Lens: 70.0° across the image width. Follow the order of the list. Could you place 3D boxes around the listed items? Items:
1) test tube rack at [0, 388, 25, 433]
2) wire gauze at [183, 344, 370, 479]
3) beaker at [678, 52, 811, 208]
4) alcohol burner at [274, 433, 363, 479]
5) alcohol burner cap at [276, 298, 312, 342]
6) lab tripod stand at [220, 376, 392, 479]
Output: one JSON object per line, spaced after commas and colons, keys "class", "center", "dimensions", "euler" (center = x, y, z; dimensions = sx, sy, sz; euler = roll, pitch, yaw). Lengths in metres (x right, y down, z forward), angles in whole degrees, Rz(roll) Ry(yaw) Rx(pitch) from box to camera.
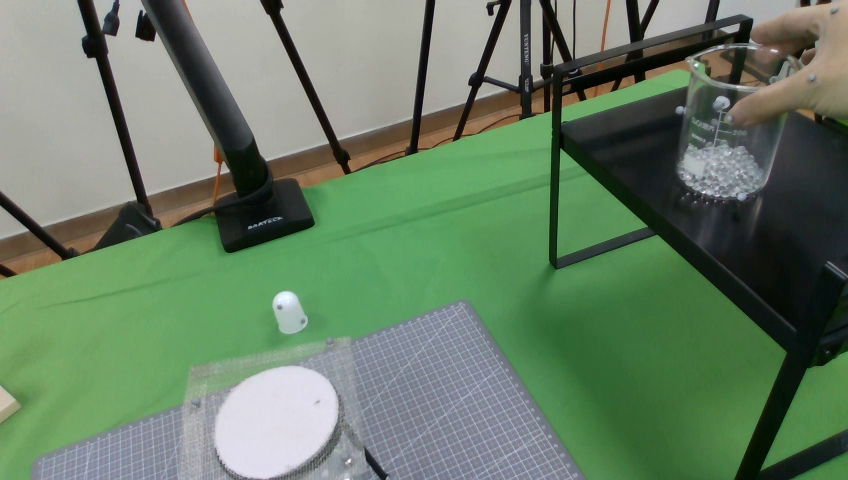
{"class": "test tube rack", "center": [-0.512, 0.204, 0.544], "dimensions": [0.066, 0.086, 0.242], "euler": [21, 47, 31]}
{"class": "wire gauze", "center": [-0.102, 0.127, 0.416], "dimensions": [0.121, 0.011, 0.123], "euler": [-12, 41, -5]}
{"class": "beaker", "center": [0.236, -0.083, 0.465], "dimensions": [0.074, 0.101, 0.083], "euler": [-32, 45, -27]}
{"class": "alcohol burner", "center": [-0.087, 0.188, 0.463], "dimensions": [0.078, 0.120, 0.077], "euler": [-6, 38, 5]}
{"class": "alcohol burner cap", "center": [-0.143, 0.084, 0.661], "dimensions": [0.034, 0.048, 0.033], "euler": [-5, 40, 5]}
{"class": "lab tripod stand", "center": [-0.089, 0.181, 0.456], "dimensions": [0.148, 0.133, 0.147], "euler": [-4, 41, 4]}
